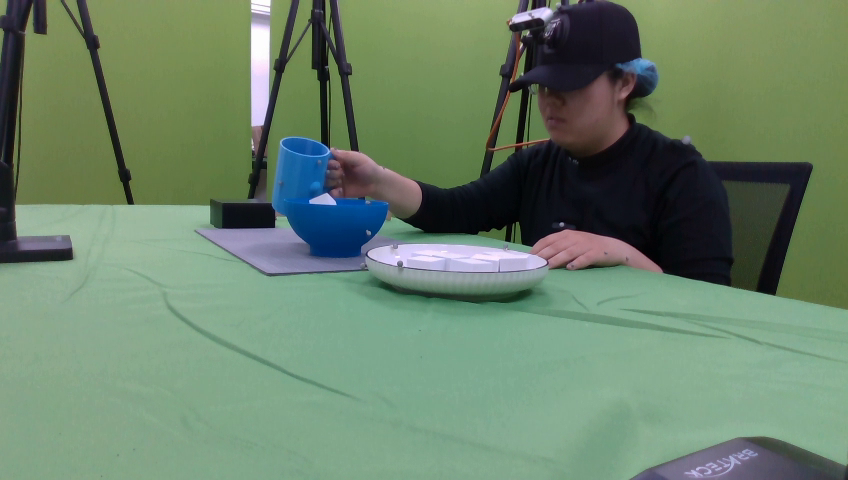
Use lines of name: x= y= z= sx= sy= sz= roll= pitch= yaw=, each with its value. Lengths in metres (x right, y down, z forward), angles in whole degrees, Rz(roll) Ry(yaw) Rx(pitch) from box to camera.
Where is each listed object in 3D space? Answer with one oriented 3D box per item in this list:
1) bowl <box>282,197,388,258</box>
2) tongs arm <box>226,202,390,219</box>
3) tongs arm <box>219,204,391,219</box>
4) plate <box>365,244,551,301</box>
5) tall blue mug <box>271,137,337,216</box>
bowl: x=-0.127 y=-0.018 z=0.868 sx=0.151 sy=0.077 sz=0.151 roll=3 pitch=7 yaw=0
tongs arm: x=-0.275 y=-0.071 z=1.446 sx=0.388 sy=0.027 sz=0.028 roll=2 pitch=-1 yaw=-4
tongs arm: x=-0.258 y=-0.064 z=1.367 sx=0.386 sy=0.026 sz=0.050 roll=1 pitch=3 yaw=-17
plate: x=0.038 y=0.036 z=0.685 sx=0.209 sy=0.038 sz=0.209 roll=2 pitch=7 yaw=0
tall blue mug: x=-0.194 y=-0.104 z=0.971 sx=0.078 sy=0.108 sz=0.107 roll=18 pitch=26 yaw=6
